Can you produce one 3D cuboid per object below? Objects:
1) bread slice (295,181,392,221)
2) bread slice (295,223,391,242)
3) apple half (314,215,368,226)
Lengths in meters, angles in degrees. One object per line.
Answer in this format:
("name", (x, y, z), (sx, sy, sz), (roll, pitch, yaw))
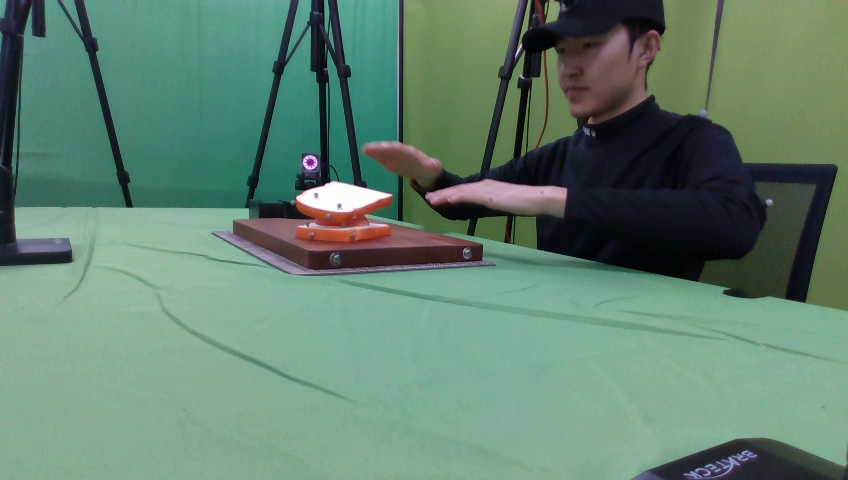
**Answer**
("bread slice", (-0.121, -0.057, 0.884), (0.106, 0.018, 0.134), (13, 22, 19))
("bread slice", (-0.122, -0.014, 0.889), (0.104, 0.019, 0.132), (3, 7, 23))
("apple half", (-0.120, -0.037, 0.901), (0.081, 0.033, 0.081), (4, 5, 0))
